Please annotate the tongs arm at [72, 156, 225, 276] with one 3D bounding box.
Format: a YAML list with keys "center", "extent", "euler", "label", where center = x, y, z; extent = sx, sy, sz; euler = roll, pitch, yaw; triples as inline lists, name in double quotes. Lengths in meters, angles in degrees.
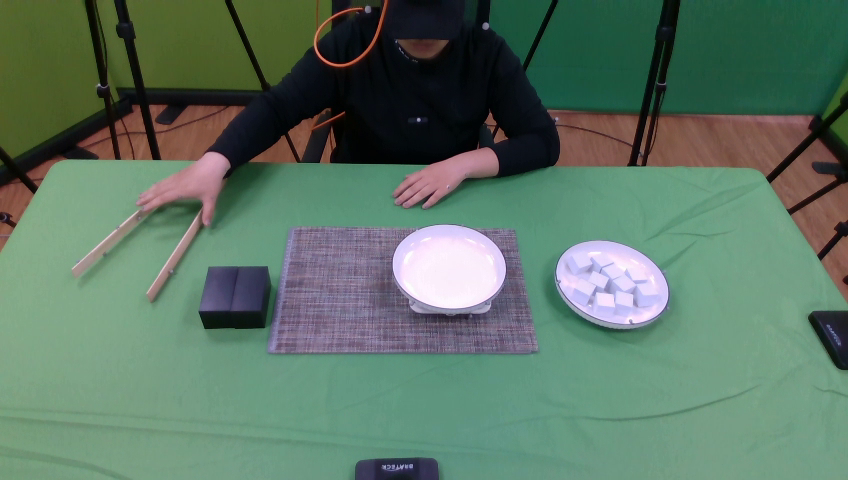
- center: [-0.531, -0.058, 1.204]
  extent: [0.050, 0.026, 0.383]
  euler: [19, 47, 13]
  label: "tongs arm"

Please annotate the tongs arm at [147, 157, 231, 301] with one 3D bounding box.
- center: [-0.453, -0.035, 1.193]
  extent: [0.028, 0.028, 0.385]
  euler: [7, 46, 6]
  label: "tongs arm"

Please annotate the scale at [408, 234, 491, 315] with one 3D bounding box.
- center: [0.045, 0.055, 1.135]
  extent: [0.149, 0.032, 0.199]
  euler: [1, 46, -3]
  label: "scale"

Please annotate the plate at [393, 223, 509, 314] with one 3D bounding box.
- center: [0.048, 0.053, 1.091]
  extent: [0.208, 0.039, 0.206]
  euler: [1, 46, -1]
  label: "plate"

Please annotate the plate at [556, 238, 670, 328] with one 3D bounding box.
- center: [0.347, 0.083, 1.130]
  extent: [0.209, 0.038, 0.208]
  euler: [2, 47, -2]
  label: "plate"
